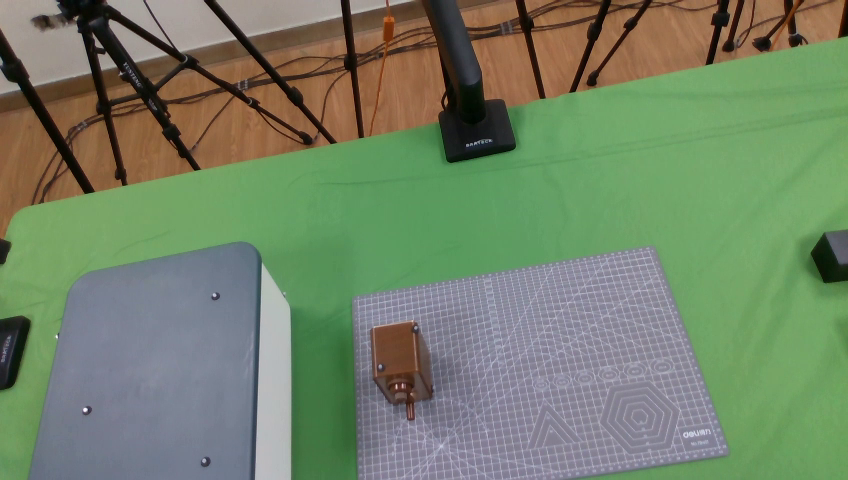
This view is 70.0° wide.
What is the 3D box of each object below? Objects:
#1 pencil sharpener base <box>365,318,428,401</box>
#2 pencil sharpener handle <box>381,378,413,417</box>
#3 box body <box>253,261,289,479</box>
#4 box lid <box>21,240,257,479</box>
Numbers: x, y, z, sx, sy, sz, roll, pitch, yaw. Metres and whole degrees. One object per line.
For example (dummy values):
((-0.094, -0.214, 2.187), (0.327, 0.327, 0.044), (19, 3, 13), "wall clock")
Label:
((-0.034, 0.159, 0.781), (0.061, 0.108, 0.076), (-10, 57, 4), "pencil sharpener base")
((-0.028, 0.194, 0.743), (0.036, 0.068, 0.030), (-14, 57, 11), "pencil sharpener handle")
((-0.314, 0.212, 0.770), (0.254, 0.162, 0.360), (-12, 57, 3), "box body")
((-0.325, 0.170, 0.710), (0.263, 0.015, 0.367), (-11, 57, 3), "box lid")
